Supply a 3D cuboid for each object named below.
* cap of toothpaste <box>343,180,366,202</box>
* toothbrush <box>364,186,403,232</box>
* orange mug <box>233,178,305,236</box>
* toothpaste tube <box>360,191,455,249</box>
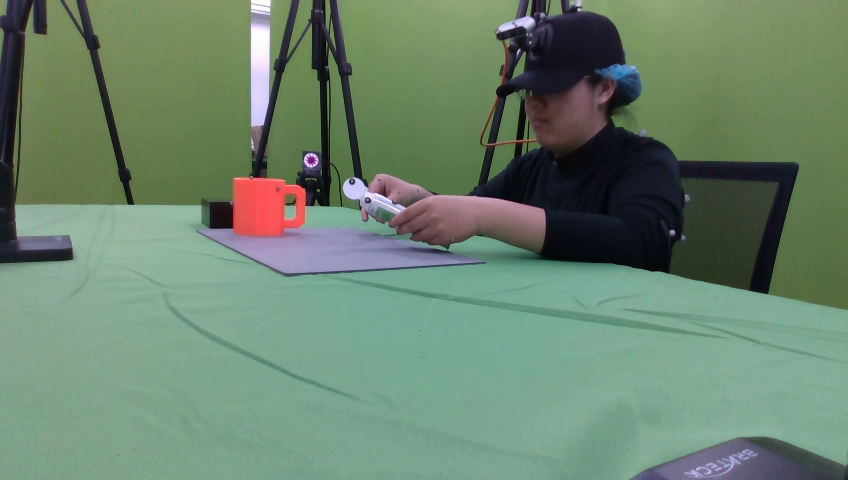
[{"bbox_3d":[-0.109,-0.076,0.947,0.037,0.037,0.011,1,0,-10],"label":"cap of toothpaste"},{"bbox_3d":[-0.076,-0.053,1.085,0.014,0.016,0.182,14,-16,27],"label":"toothbrush"},{"bbox_3d":[-0.273,-0.061,1.067,0.127,0.101,0.083,-5,10,-24],"label":"orange mug"},{"bbox_3d":[-0.029,-0.035,0.961,0.165,0.034,0.055,26,-27,3],"label":"toothpaste tube"}]
